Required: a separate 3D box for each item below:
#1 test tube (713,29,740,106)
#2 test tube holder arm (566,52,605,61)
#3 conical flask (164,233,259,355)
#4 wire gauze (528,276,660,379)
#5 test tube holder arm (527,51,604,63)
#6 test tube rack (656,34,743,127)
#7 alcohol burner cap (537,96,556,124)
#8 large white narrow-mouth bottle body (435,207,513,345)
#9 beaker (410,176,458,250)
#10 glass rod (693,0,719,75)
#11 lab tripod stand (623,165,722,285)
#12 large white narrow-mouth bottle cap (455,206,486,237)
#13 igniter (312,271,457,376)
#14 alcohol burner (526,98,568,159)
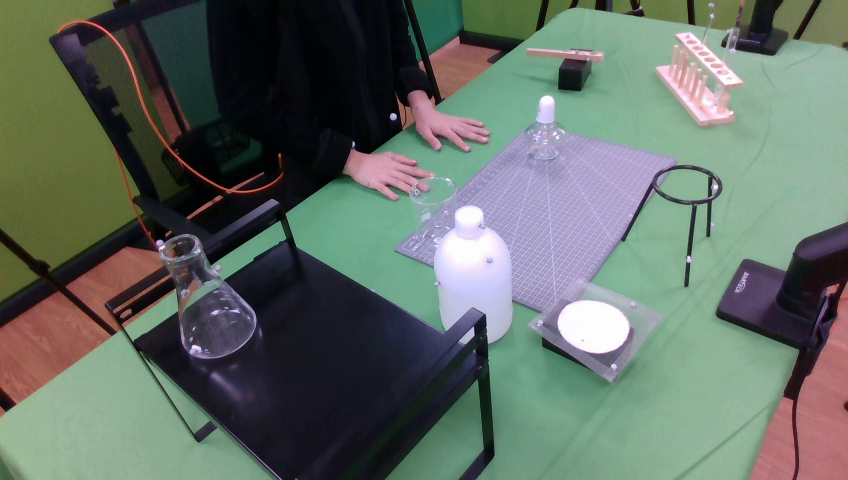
[{"bbox_3d":[0.572,-0.324,1.147,0.017,0.151,0.017,-3,37,2],"label":"test tube"},{"bbox_3d":[0.352,-0.401,1.325,0.087,0.015,0.010,15,38,31],"label":"test tube holder arm"},{"bbox_3d":[-0.216,0.051,0.601,0.075,0.122,0.075,-4,40,4],"label":"conical flask"},{"bbox_3d":[0.214,0.103,0.763,0.124,0.011,0.122,30,52,35],"label":"wire gauze"},{"bbox_3d":[0.311,-0.408,1.344,0.177,0.015,0.013,14,38,30],"label":"test tube holder arm"},{"bbox_3d":[0.553,-0.330,1.233,0.067,0.085,0.241,-7,40,2],"label":"test tube rack"},{"bbox_3d":[0.223,-0.237,1.095,0.034,0.048,0.033,-2,37,2],"label":"alcohol burner cap"},{"bbox_3d":[0.065,0.041,0.791,0.102,0.195,0.101,-4,41,4],"label":"large white narrow-mouth bottle body"},{"bbox_3d":[0.022,-0.041,0.964,0.073,0.101,0.084,28,51,35],"label":"beaker"},{"bbox_3d":[0.561,-0.402,1.214,0.008,0.200,0.008,-1,49,2],"label":"glass rod"},{"bbox_3d":[0.365,-0.030,0.875,0.148,0.132,0.147,-6,41,6],"label":"lab tripod stand"},{"bbox_3d":[0.057,-0.023,0.734,0.038,0.024,0.037,-4,40,4],"label":"large white narrow-mouth bottle cap"},{"bbox_3d":[-0.068,0.111,0.859,0.274,0.025,0.057,27,61,34],"label":"igniter"},{"bbox_3d":[0.228,-0.210,1.118,0.078,0.119,0.077,-5,43,5],"label":"alcohol burner"}]
